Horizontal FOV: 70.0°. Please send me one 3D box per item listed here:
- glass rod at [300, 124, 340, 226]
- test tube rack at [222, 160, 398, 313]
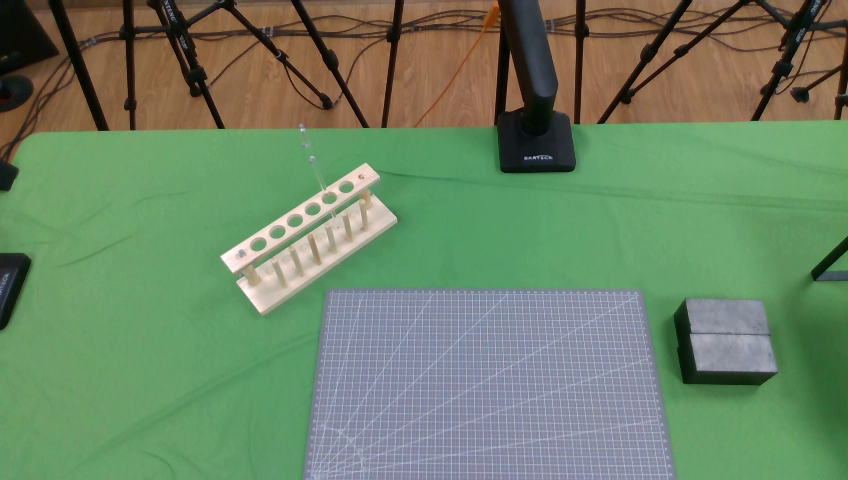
[{"bbox_3d":[-0.141,-0.083,0.833,0.008,0.201,0.008,-4,53,5],"label":"glass rod"},{"bbox_3d":[-0.155,-0.007,0.866,0.242,0.086,0.066,-36,64,-18],"label":"test tube rack"}]
